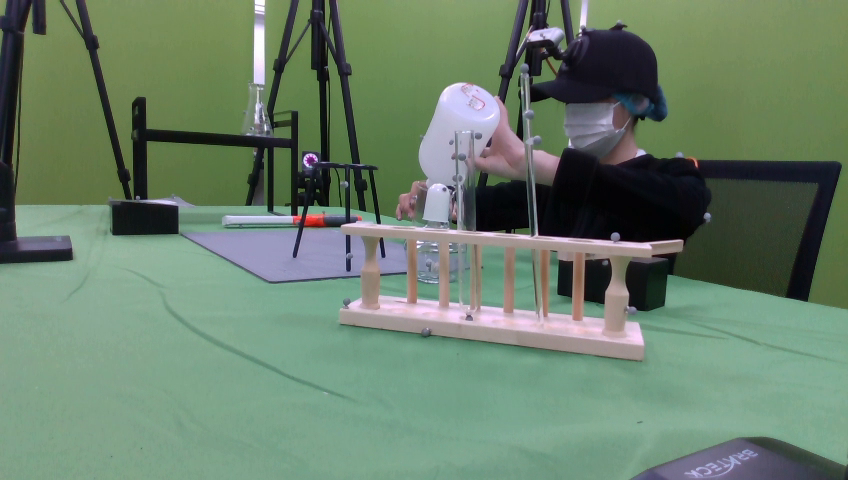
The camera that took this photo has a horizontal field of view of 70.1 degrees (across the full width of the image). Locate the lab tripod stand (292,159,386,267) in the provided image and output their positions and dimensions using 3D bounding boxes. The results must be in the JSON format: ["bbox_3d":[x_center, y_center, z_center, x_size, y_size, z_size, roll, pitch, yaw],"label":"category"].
[{"bbox_3d":[-0.105,-0.039,0.798,0.148,0.131,0.148,2,5,0],"label":"lab tripod stand"}]

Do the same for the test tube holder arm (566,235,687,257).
[{"bbox_3d":[0.215,0.006,0.629,0.179,0.015,0.013,-3,9,-30],"label":"test tube holder arm"}]

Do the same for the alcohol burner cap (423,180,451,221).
[{"bbox_3d":[0.017,-0.047,0.711,0.034,0.048,0.034,8,5,0],"label":"alcohol burner cap"}]

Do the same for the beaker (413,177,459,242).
[{"bbox_3d":[0.020,-0.052,1.059,0.074,0.100,0.083,-8,26,-36],"label":"beaker"}]

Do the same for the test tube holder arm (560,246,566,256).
[{"bbox_3d":[0.173,0.007,0.611,0.088,0.015,0.010,-3,9,-30],"label":"test tube holder arm"}]

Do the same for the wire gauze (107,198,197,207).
[{"bbox_3d":[-0.462,-0.064,1.023,0.126,0.011,0.121,-2,7,-32],"label":"wire gauze"}]

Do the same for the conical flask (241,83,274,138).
[{"bbox_3d":[-0.384,-0.297,1.393,0.075,0.122,0.075,2,7,0],"label":"conical flask"}]

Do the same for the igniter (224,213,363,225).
[{"bbox_3d":[-0.255,-0.041,1.210,0.278,0.025,0.057,-2,-2,-31],"label":"igniter"}]

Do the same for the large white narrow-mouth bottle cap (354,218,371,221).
[{"bbox_3d":[-0.120,-0.029,1.184,0.038,0.024,0.037,2,8,0],"label":"large white narrow-mouth bottle cap"}]

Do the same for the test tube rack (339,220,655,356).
[{"bbox_3d":[0.056,0.032,0.495,0.242,0.085,0.067,4,7,15],"label":"test tube rack"}]

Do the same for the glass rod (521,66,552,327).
[{"bbox_3d":[0.085,-0.028,0.454,0.008,0.199,0.008,-7,10,2],"label":"glass rod"}]

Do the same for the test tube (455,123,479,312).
[{"bbox_3d":[0.034,-0.016,0.476,0.017,0.150,0.017,-2,10,1],"label":"test tube"}]

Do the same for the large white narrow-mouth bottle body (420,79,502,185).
[{"bbox_3d":[0.047,-0.154,0.970,0.102,0.194,0.101,11,50,-13],"label":"large white narrow-mouth bottle body"}]

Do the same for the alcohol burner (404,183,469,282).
[{"bbox_3d":[0.015,-0.011,0.715,0.078,0.119,0.078,0,7,0],"label":"alcohol burner"}]
